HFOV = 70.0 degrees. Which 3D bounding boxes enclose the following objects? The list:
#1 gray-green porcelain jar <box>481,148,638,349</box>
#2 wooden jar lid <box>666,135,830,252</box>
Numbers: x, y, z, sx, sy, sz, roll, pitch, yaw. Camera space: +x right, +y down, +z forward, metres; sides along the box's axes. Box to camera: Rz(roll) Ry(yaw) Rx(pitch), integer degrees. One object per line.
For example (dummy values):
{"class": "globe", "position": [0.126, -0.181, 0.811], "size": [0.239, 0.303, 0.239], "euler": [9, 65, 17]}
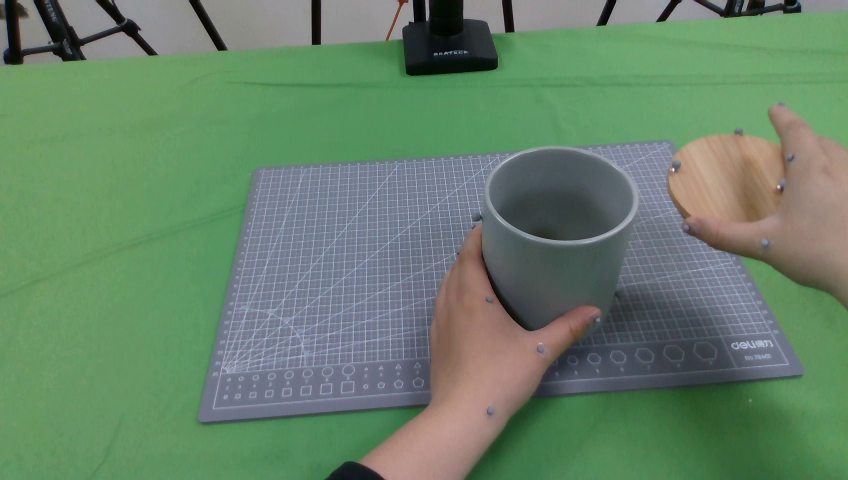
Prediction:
{"class": "gray-green porcelain jar", "position": [0.096, 0.012, 0.458], "size": [0.106, 0.128, 0.105], "euler": [-2, 45, 2]}
{"class": "wooden jar lid", "position": [0.229, -0.033, 0.435], "size": [0.108, 0.021, 0.107], "euler": [-2, 50, 3]}
